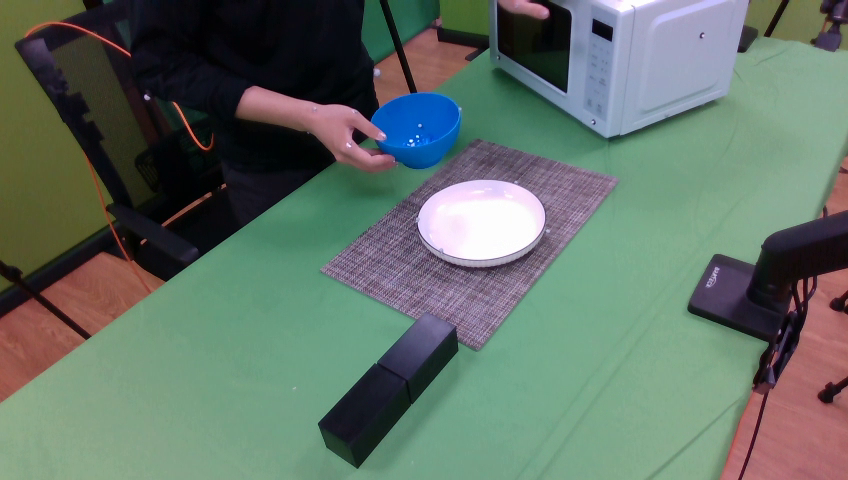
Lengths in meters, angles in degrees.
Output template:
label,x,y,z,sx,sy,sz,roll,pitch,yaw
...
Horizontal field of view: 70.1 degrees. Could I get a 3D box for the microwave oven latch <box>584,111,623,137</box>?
label,x,y,z,sx,sy,sz,roll,pitch,yaw
microwave oven latch,0.337,-0.222,1.142,0.030,0.029,0.078,-21,42,-14

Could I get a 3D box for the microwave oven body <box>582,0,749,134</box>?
label,x,y,z,sx,sy,sz,roll,pitch,yaw
microwave oven body,0.382,-0.445,1.246,0.327,0.261,0.437,-22,42,-16

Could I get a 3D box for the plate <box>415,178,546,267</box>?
label,x,y,z,sx,sy,sz,roll,pitch,yaw
plate,0.091,-0.026,0.970,0.207,0.039,0.206,-4,41,4

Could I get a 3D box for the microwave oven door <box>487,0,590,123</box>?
label,x,y,z,sx,sy,sz,roll,pitch,yaw
microwave oven door,0.232,-0.420,1.231,0.039,0.245,0.352,-22,43,-16

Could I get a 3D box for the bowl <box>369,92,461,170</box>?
label,x,y,z,sx,sy,sz,roll,pitch,yaw
bowl,-0.009,-0.170,1.003,0.151,0.077,0.150,-6,46,6
